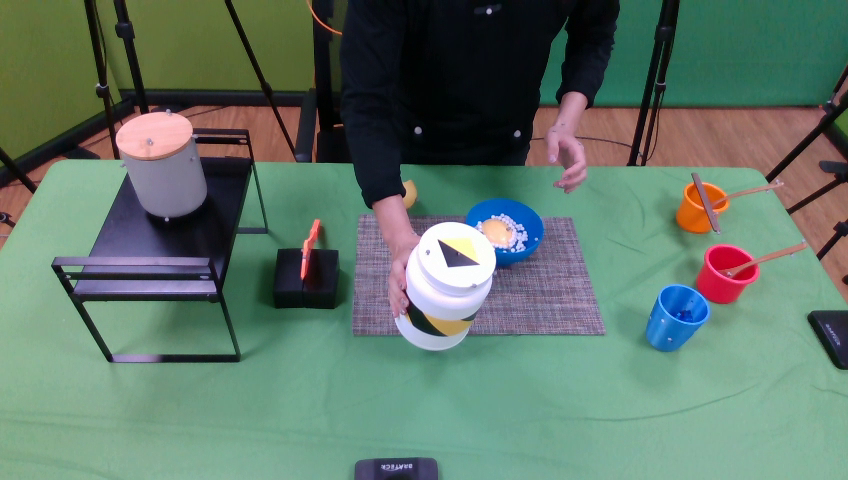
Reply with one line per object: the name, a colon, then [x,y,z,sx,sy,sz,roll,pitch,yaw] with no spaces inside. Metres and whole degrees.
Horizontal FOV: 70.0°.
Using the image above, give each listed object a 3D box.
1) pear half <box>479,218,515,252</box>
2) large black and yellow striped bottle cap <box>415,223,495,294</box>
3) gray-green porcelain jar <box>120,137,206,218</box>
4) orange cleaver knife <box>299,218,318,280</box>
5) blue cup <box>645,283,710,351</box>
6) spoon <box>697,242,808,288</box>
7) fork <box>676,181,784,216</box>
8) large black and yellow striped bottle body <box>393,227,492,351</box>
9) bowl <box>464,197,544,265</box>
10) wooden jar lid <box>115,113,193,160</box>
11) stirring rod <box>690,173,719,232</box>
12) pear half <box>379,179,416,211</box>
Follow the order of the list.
pear half: [0.145,-0.013,1.167,0.070,0.031,0.087,-20,55,-20]
large black and yellow striped bottle cap: [0.045,0.024,0.864,0.115,0.019,0.114,8,51,-10]
gray-green porcelain jar: [-0.403,-0.106,0.946,0.106,0.127,0.105,3,46,-2]
orange cleaver knife: [-0.214,0.013,1.126,0.012,0.077,0.210,5,17,-5]
blue cup: [0.426,0.139,1.041,0.093,0.101,0.092,4,46,-3]
spoon: [0.601,0.045,1.116,0.194,0.022,0.041,-29,34,30]
fork: [0.618,-0.083,1.235,0.207,0.019,0.028,-23,21,38]
large black and yellow striped bottle body: [0.029,0.075,0.929,0.131,0.184,0.130,7,52,-9]
bowl: [0.149,-0.004,1.167,0.151,0.077,0.150,2,47,-2]
wooden jar lid: [-0.399,-0.151,0.900,0.108,0.021,0.107,3,46,-3]
stirring rod: [0.566,-0.079,1.225,0.014,0.006,0.175,2,45,2]
pear half: [-0.046,-0.092,1.262,0.076,0.056,0.109,-20,10,21]
